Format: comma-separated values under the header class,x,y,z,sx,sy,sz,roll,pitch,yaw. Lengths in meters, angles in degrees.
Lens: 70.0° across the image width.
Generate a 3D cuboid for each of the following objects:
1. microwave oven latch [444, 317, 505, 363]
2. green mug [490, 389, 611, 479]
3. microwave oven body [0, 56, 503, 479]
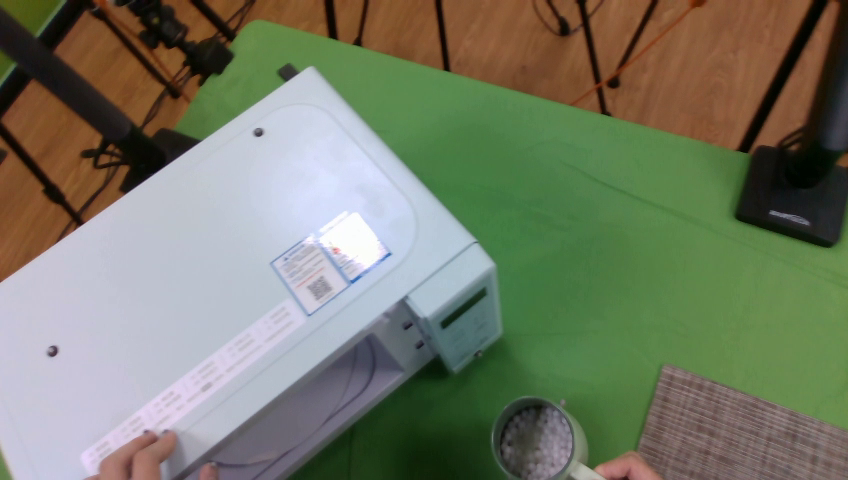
class,x,y,z,sx,sy,sz,roll,pitch,yaw
microwave oven latch,0.060,0.112,0.721,0.079,0.030,0.030,-36,67,-6
green mug,0.126,0.204,0.598,0.124,0.106,0.092,28,77,25
microwave oven body,-0.183,0.079,0.665,0.441,0.262,0.323,-38,67,-7
